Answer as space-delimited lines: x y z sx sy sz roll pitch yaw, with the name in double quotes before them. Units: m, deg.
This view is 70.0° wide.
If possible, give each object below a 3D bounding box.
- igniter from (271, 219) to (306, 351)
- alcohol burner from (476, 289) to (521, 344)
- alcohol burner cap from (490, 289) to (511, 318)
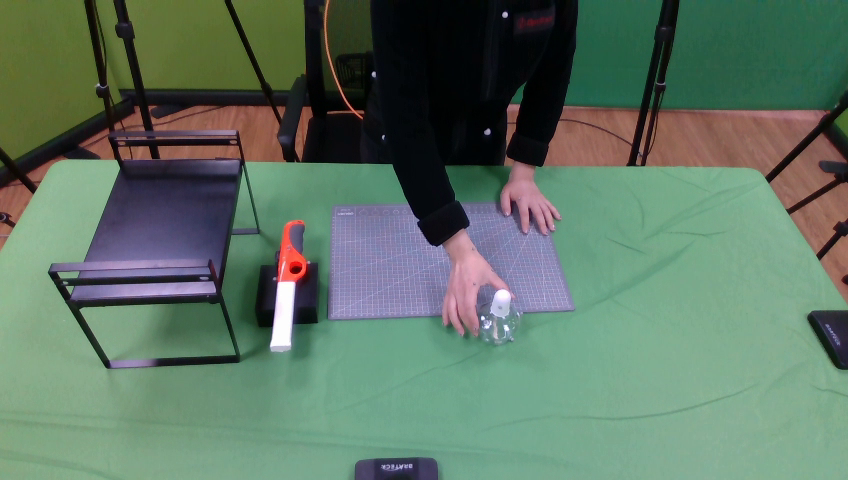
"igniter" -0.235 0.067 1.047 0.057 0.025 0.274 0 49 -6
"alcohol burner" 0.128 0.123 1.024 0.078 0.119 0.077 3 45 -3
"alcohol burner cap" 0.128 0.102 1.002 0.034 0.048 0.033 3 45 -3
